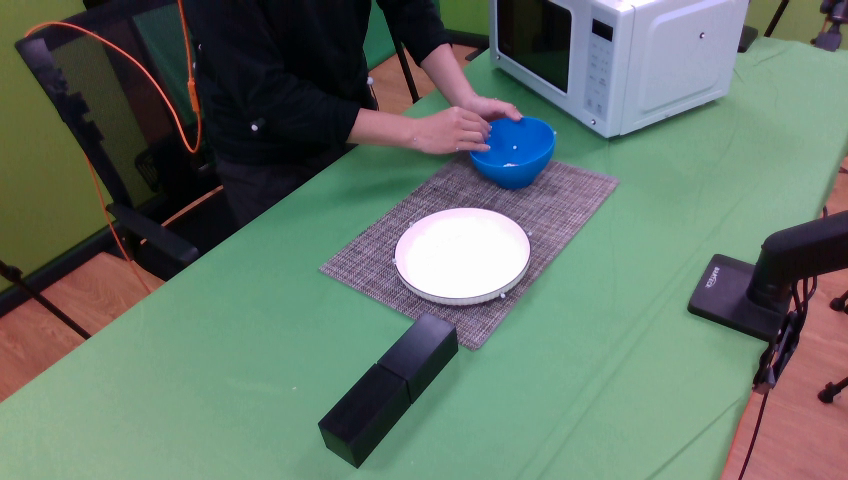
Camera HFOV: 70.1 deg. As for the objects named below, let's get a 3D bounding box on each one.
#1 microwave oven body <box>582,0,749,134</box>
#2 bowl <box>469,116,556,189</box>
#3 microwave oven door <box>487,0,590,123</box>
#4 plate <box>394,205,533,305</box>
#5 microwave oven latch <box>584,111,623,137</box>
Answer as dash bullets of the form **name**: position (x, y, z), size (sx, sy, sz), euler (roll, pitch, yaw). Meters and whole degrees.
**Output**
- **microwave oven body**: position (0.382, -0.444, 1.246), size (0.327, 0.261, 0.437), euler (-22, 42, -16)
- **bowl**: position (0.157, -0.143, 1.061), size (0.151, 0.077, 0.150), euler (-7, 42, 7)
- **microwave oven door**: position (0.232, -0.420, 1.231), size (0.039, 0.245, 0.352), euler (-22, 43, -16)
- **plate**: position (0.059, 0.025, 0.915), size (0.207, 0.039, 0.206), euler (-4, 41, 4)
- **microwave oven latch**: position (0.337, -0.222, 1.142), size (0.030, 0.029, 0.078), euler (-21, 42, -14)
